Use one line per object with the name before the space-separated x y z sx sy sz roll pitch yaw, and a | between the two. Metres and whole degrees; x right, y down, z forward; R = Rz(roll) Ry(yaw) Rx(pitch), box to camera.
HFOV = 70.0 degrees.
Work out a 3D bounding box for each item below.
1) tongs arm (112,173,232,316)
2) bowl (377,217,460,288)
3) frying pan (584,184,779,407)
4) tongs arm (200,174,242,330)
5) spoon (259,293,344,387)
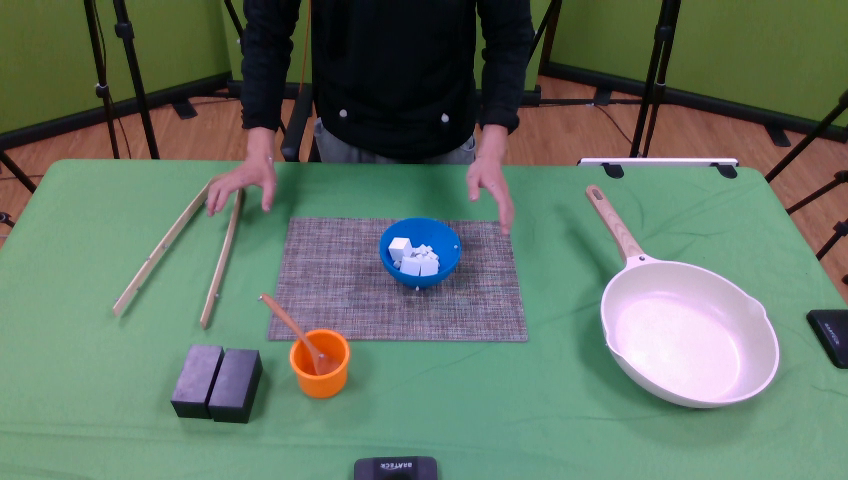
tongs arm | -0.467 -0.005 1.157 0.051 0.026 0.382 11 45 4
bowl | -0.012 0.036 1.118 0.151 0.077 0.150 2 46 -2
frying pan | 0.412 0.079 1.096 0.307 0.103 0.484 -10 56 -15
tongs arm | -0.387 0.008 1.158 0.028 0.028 0.385 -1 46 -3
spoon | -0.191 0.155 0.947 0.021 0.194 0.041 -13 28 50
